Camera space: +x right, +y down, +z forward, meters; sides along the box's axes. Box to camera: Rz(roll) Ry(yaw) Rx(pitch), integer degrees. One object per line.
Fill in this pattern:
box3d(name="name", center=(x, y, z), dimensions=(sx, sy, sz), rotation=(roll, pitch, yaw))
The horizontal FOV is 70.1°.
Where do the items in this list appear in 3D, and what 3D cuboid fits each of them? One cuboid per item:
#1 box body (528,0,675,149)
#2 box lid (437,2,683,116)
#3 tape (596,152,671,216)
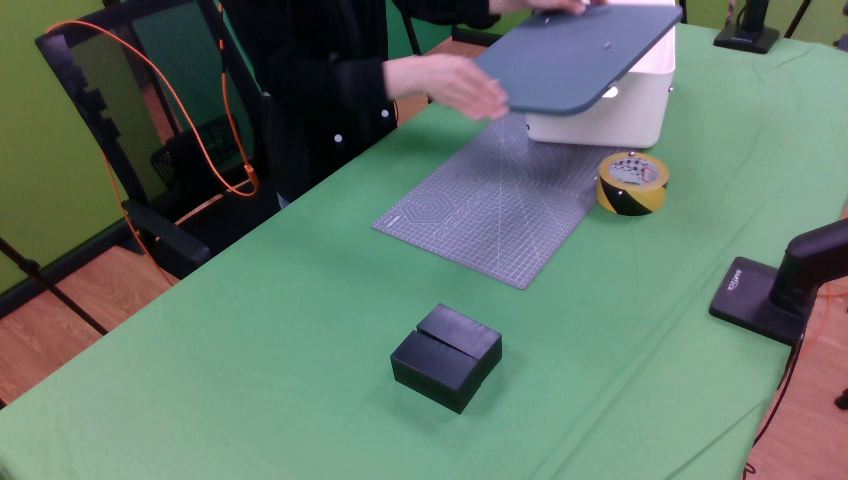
box3d(name="box body", center=(0.356, -0.342, 1.212), dimensions=(0.253, 0.161, 0.363), rotation=(7, 42, 17))
box3d(name="box lid", center=(0.215, -0.295, 0.949), dimensions=(0.261, 0.015, 0.372), rotation=(16, 47, 38))
box3d(name="tape", center=(0.349, -0.095, 1.009), dimensions=(0.117, 0.053, 0.116), rotation=(-3, 43, 3))
